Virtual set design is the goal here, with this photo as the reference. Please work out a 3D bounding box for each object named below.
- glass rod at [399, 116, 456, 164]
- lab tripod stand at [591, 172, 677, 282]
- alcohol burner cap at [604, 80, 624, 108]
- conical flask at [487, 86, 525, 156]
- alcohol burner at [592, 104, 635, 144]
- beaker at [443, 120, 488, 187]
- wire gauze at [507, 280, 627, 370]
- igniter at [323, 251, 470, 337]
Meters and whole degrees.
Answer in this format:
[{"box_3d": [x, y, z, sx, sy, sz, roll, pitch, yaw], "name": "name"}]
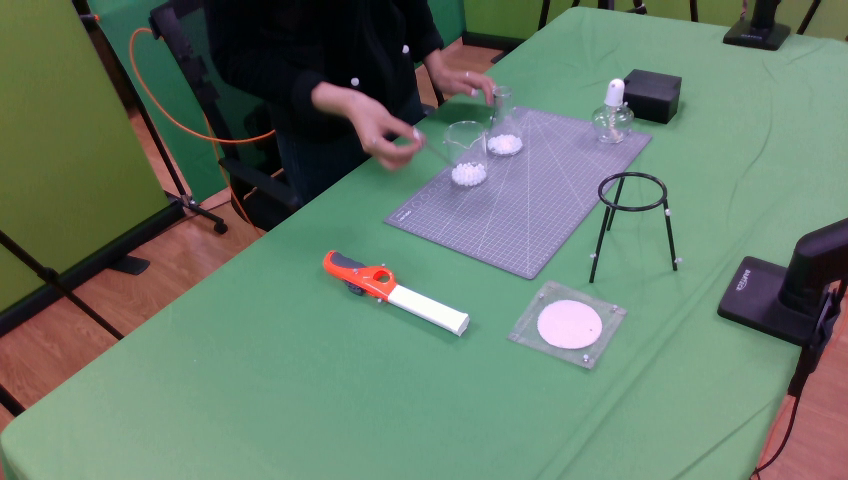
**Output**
[{"box_3d": [0.001, -0.156, 0.924, 0.008, 0.008, 0.198, -22, 37, -14], "name": "glass rod"}, {"box_3d": [0.292, -0.022, 0.867, 0.148, 0.132, 0.147, -7, 39, 6], "name": "lab tripod stand"}, {"box_3d": [0.350, -0.269, 1.102, 0.034, 0.048, 0.033, -1, 47, 2], "name": "alcohol burner cap"}, {"box_3d": [0.152, -0.226, 1.140, 0.075, 0.122, 0.075, -6, 40, 5], "name": "conical flask"}, {"box_3d": [0.353, -0.242, 1.126, 0.078, 0.119, 0.077, -5, 38, 5], "name": "alcohol burner"}, {"box_3d": [0.078, -0.150, 1.083, 0.074, 0.101, 0.083, -10, 40, 1], "name": "beaker"}, {"box_3d": [0.196, 0.114, 0.823, 0.120, 0.011, 0.125, 20, 50, 31], "name": "wire gauze"}, {"box_3d": [-0.052, 0.075, 0.901, 0.274, 0.025, 0.057, 22, 60, 32], "name": "igniter"}]
